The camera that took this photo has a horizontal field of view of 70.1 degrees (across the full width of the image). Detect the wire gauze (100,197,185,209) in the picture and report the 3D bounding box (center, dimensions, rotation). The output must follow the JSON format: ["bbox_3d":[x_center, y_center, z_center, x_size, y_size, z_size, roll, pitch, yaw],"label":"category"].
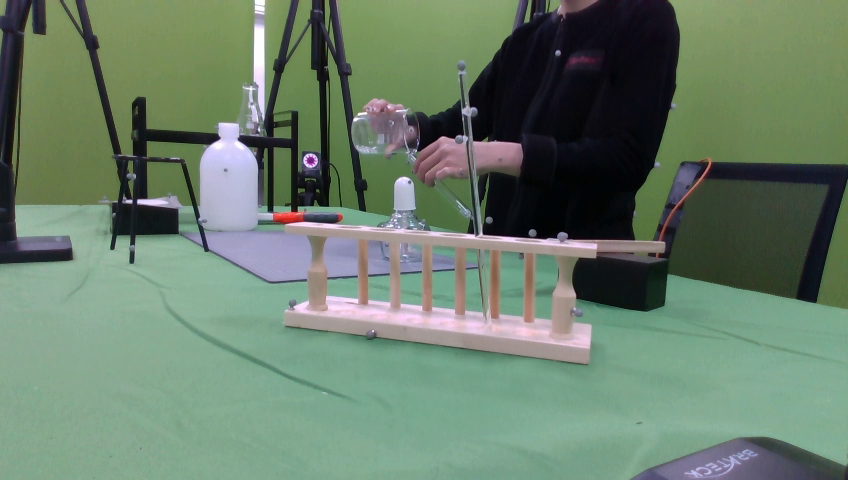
[{"bbox_3d":[-0.469,-0.062,1.008,0.126,0.011,0.121,-2,8,-25],"label":"wire gauze"}]

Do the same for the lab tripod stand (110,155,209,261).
[{"bbox_3d":[-0.361,-0.046,0.806,0.148,0.131,0.148,2,5,0],"label":"lab tripod stand"}]

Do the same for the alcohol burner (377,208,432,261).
[{"bbox_3d":[-0.027,-0.031,0.838,0.078,0.119,0.078,0,6,0],"label":"alcohol burner"}]

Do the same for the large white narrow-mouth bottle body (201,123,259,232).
[{"bbox_3d":[-0.358,-0.116,1.116,0.102,0.194,0.102,2,8,0],"label":"large white narrow-mouth bottle body"}]

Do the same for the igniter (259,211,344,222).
[{"bbox_3d":[-0.302,-0.048,1.249,0.278,0.025,0.057,-2,-2,-27],"label":"igniter"}]

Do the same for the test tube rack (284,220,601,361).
[{"bbox_3d":[0.013,0.032,0.482,0.242,0.085,0.067,4,7,16],"label":"test tube rack"}]

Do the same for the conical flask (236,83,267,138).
[{"bbox_3d":[-0.400,-0.298,1.396,0.075,0.122,0.075,2,8,0],"label":"conical flask"}]

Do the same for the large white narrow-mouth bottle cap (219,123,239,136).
[{"bbox_3d":[-0.356,-0.201,1.104,0.038,0.024,0.037,2,8,0],"label":"large white narrow-mouth bottle cap"}]

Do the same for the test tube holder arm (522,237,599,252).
[{"bbox_3d":[0.144,0.005,0.636,0.088,0.015,0.010,-1,16,-19],"label":"test tube holder arm"}]

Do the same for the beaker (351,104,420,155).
[{"bbox_3d":[-0.065,-0.183,1.017,0.100,0.084,0.074,0,6,20],"label":"beaker"}]

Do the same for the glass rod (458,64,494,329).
[{"bbox_3d":[0.039,-0.029,0.449,0.008,0.199,0.008,-7,9,1],"label":"glass rod"}]

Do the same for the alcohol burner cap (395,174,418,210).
[{"bbox_3d":[-0.026,-0.067,0.833,0.034,0.048,0.034,-2,12,1],"label":"alcohol burner cap"}]

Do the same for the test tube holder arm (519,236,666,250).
[{"bbox_3d":[0.186,0.003,0.656,0.179,0.015,0.013,-1,16,-19],"label":"test tube holder arm"}]

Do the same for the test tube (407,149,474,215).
[{"bbox_3d":[0.027,-0.094,0.984,0.150,0.017,0.017,46,23,15],"label":"test tube"}]
